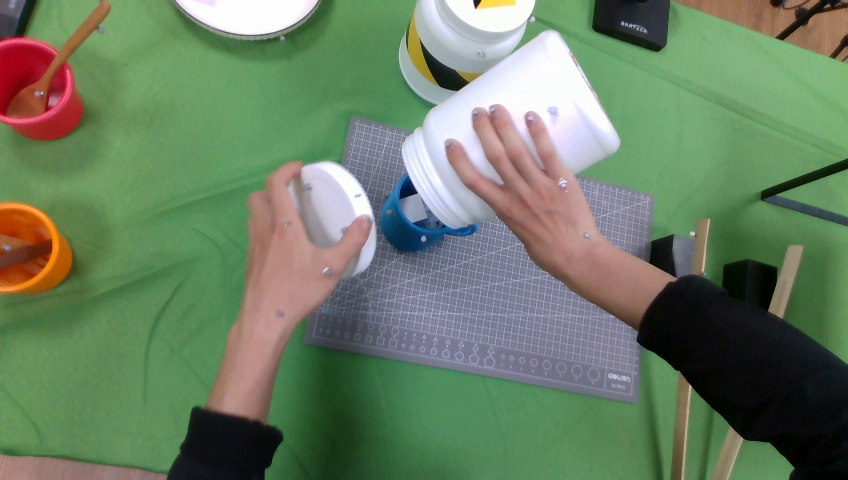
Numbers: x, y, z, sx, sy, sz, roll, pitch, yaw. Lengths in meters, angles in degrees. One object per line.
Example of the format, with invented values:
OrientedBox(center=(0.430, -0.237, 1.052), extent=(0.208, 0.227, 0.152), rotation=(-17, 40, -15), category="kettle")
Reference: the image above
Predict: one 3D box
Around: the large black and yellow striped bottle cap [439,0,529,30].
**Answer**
OrientedBox(center=(0.065, -0.290, 0.672), extent=(0.115, 0.019, 0.114), rotation=(3, 80, -15), category="large black and yellow striped bottle cap")

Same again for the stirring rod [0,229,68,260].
OrientedBox(center=(-0.435, 0.018, 0.598), extent=(0.014, 0.006, 0.176), rotation=(59, 30, -2), category="stirring rod")

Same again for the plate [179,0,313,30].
OrientedBox(center=(-0.231, -0.360, 0.772), extent=(0.208, 0.039, 0.207), rotation=(3, 79, -14), category="plate")

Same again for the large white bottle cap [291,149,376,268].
OrientedBox(center=(-0.088, -0.028, 0.578), extent=(0.018, 0.115, 0.114), rotation=(-23, 85, -40), category="large white bottle cap")

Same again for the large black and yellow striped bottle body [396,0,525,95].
OrientedBox(center=(0.045, -0.273, 0.751), extent=(0.131, 0.184, 0.130), rotation=(3, 79, -14), category="large black and yellow striped bottle body")

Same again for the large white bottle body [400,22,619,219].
OrientedBox(center=(0.081, -0.110, 0.599), extent=(0.184, 0.131, 0.130), rotation=(-29, 87, 19), category="large white bottle body")

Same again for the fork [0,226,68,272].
OrientedBox(center=(-0.450, -0.024, 0.595), extent=(0.209, 0.018, 0.028), rotation=(47, 64, -48), category="fork")

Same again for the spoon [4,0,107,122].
OrientedBox(center=(-0.393, -0.193, 0.644), extent=(0.194, 0.021, 0.041), rotation=(-35, 86, 26), category="spoon")

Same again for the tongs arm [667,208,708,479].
OrientedBox(center=(0.357, 0.152, 0.796), extent=(0.051, 0.026, 0.384), rotation=(8, 90, -16), category="tongs arm")

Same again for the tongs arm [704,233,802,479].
OrientedBox(center=(0.435, 0.170, 0.815), extent=(0.028, 0.027, 0.387), rotation=(22, 87, -18), category="tongs arm")

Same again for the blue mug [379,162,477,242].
OrientedBox(center=(0.008, -0.042, 0.738), extent=(0.117, 0.106, 0.082), rotation=(20, 75, -10), category="blue mug")
